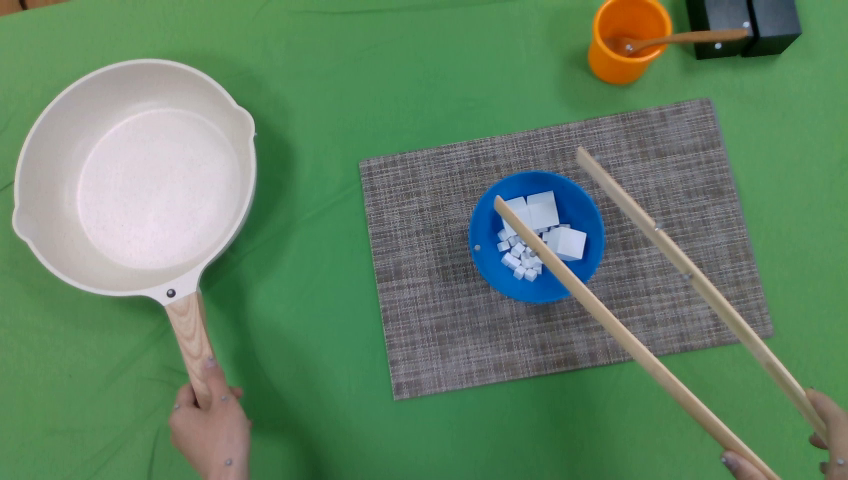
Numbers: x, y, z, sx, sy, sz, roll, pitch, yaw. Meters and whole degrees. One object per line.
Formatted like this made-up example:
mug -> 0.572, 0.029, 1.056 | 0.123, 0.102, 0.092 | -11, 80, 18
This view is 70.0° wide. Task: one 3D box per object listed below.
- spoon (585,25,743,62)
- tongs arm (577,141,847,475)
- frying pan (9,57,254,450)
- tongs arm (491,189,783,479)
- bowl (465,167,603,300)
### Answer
spoon -> 0.271, -0.233, 0.706 | 0.022, 0.192, 0.041 | 34, 77, -35
tongs arm -> 0.236, 0.055, 0.532 | 0.051, 0.027, 0.381 | -28, 63, -13
frying pan -> -0.303, 0.013, 0.710 | 0.307, 0.103, 0.484 | -24, 71, -1
tongs arm -> 0.186, 0.084, 0.520 | 0.028, 0.028, 0.384 | -33, 64, -19
bowl -> 0.123, -0.001, 0.701 | 0.151, 0.077, 0.150 | 0, 79, 3
